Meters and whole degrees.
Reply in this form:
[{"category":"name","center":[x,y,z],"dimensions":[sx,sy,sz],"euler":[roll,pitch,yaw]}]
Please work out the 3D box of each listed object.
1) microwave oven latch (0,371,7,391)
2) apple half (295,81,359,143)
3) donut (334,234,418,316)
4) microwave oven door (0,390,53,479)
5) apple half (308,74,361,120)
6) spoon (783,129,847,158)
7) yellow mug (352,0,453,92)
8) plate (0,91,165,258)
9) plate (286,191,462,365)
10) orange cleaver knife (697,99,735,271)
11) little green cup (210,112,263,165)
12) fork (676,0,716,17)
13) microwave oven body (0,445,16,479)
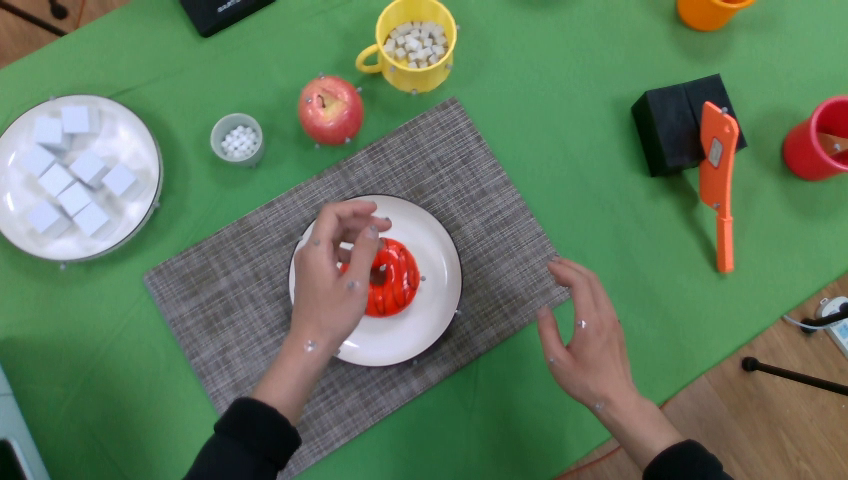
[{"category":"microwave oven latch","center":[-0.503,0.138,0.682],"dimensions":[0.030,0.029,0.079],"euler":[-27,83,-7]},{"category":"apple half","center":[-0.125,-0.149,0.748],"dimensions":[0.081,0.074,0.053],"euler":[32,85,0]},{"category":"donut","center":[-0.057,0.042,0.721],"dimensions":[0.099,0.048,0.098],"euler":[0,82,-2]},{"category":"microwave oven door","center":[-0.395,0.310,0.555],"dimensions":[0.039,0.244,0.354],"euler":[-29,82,-7]},{"category":"apple half","center":[-0.105,-0.182,0.753],"dimensions":[0.081,0.081,0.033],"euler":[31,85,4]},{"category":"spoon","center":[0.547,-0.120,0.734],"dimensions":[0.192,0.022,0.041],"euler":[5,70,44]},{"category":"yellow mug","center":[-0.029,-0.243,0.770],"dimensions":[0.131,0.064,0.099],"euler":[-21,81,-5]},{"category":"plate","center":[-0.419,-0.078,0.741],"dimensions":[0.208,0.039,0.207],"euler":[0,80,-2]},{"category":"plate","center":[-0.059,0.045,0.731],"dimensions":[0.209,0.038,0.208],"euler":[0,81,-2]},{"category":"orange cleaver knife","center":[0.356,-0.065,0.746],"dimensions":[0.012,0.076,0.213],"euler":[-12,113,-3]},{"category":"little green cup","center":[-0.231,-0.123,0.756],"dimensions":[0.061,0.039,0.061],"euler":[0,80,-1]},{"category":"fork","center":[0.420,-0.351,0.764],"dimensions":[0.207,0.019,0.028],"euler":[-30,77,37]},{"category":"microwave oven body","center":[-0.544,0.343,0.549],"dimensions":[0.326,0.261,0.440],"euler":[-29,83,-7]}]
